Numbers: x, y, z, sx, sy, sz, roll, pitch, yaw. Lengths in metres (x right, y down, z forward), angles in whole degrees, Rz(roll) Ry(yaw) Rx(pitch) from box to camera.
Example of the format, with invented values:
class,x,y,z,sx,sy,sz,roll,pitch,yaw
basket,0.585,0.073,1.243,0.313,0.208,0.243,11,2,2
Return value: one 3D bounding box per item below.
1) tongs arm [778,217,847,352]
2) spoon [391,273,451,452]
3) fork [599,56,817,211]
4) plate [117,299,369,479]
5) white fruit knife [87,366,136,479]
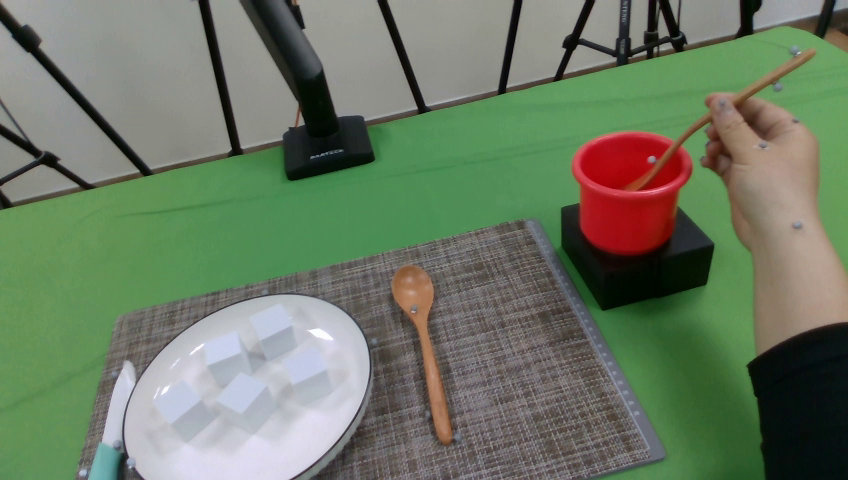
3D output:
class,x,y,z,sx,sy,sz,roll,pitch,yaw
tongs arm,0.354,0.110,0.450,0.028,0.028,0.383,-4,40,4
spoon,-0.001,0.099,0.538,0.042,0.022,0.191,2,38,-13
fork,0.220,-0.078,0.495,0.018,0.208,0.028,44,47,1
plate,-0.147,0.137,0.514,0.207,0.039,0.205,-6,40,5
white fruit knife,-0.262,0.182,0.505,0.027,0.016,0.205,9,32,-22
